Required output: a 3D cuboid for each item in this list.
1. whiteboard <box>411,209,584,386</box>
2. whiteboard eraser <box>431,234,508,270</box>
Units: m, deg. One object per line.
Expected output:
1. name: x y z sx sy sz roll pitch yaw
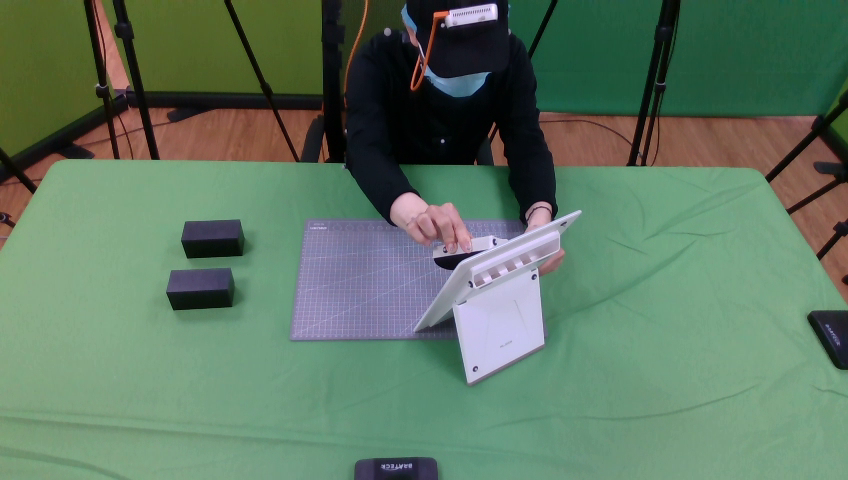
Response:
1. whiteboard: 0.134 0.110 0.944 0.217 0.306 0.143 -21 72 -23
2. whiteboard eraser: 0.070 0.020 0.912 0.112 0.056 0.041 -12 71 37
